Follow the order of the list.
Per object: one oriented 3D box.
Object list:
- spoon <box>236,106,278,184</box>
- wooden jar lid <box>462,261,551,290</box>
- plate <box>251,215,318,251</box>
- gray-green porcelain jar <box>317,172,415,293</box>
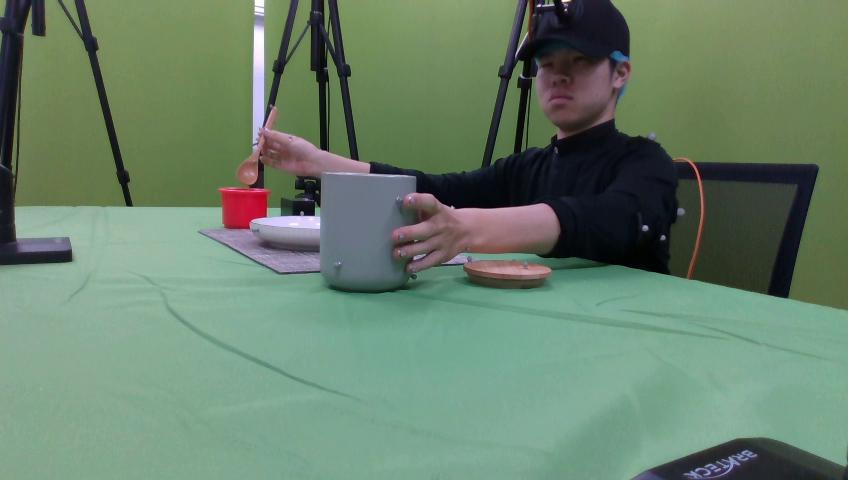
[{"bbox_3d":[-0.331,-0.195,1.227,0.042,0.193,0.021,28,-25,-23],"label":"spoon"},{"bbox_3d":[0.100,0.043,0.742,0.108,0.020,0.108,2,6,0],"label":"wooden jar lid"},{"bbox_3d":[-0.170,-0.012,0.971,0.208,0.039,0.207,2,7,0],"label":"plate"},{"bbox_3d":[-0.065,-0.010,0.671,0.106,0.126,0.106,2,7,0],"label":"gray-green porcelain jar"}]
